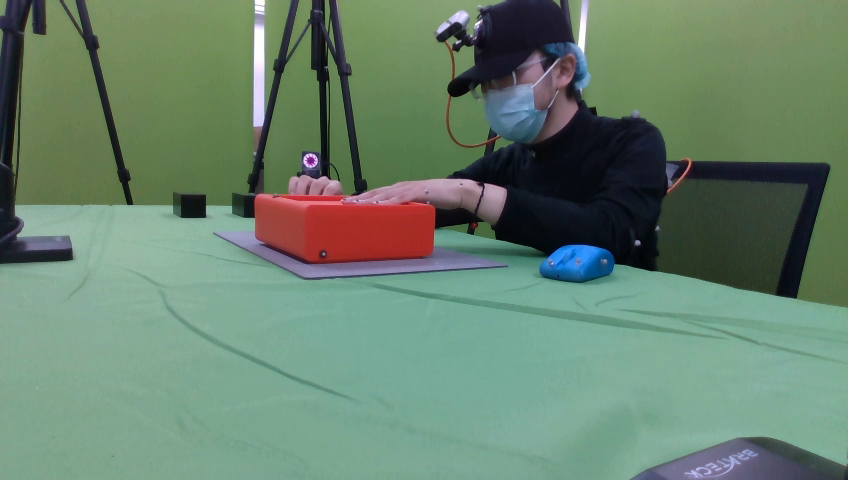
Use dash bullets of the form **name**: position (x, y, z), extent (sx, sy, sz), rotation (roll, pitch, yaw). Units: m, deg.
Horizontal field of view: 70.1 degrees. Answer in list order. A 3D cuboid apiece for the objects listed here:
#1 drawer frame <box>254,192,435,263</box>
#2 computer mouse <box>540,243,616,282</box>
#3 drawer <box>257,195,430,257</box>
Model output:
- **drawer frame**: position (-0.124, -0.025, 0.904), extent (0.203, 0.082, 0.212), rotation (-1, 9, -33)
- **computer mouse**: position (0.204, 0.028, 0.797), extent (0.062, 0.041, 0.118), rotation (11, 15, 38)
- **drawer**: position (-0.126, -0.025, 0.907), extent (0.195, 0.073, 0.210), rotation (-1, 8, -32)
